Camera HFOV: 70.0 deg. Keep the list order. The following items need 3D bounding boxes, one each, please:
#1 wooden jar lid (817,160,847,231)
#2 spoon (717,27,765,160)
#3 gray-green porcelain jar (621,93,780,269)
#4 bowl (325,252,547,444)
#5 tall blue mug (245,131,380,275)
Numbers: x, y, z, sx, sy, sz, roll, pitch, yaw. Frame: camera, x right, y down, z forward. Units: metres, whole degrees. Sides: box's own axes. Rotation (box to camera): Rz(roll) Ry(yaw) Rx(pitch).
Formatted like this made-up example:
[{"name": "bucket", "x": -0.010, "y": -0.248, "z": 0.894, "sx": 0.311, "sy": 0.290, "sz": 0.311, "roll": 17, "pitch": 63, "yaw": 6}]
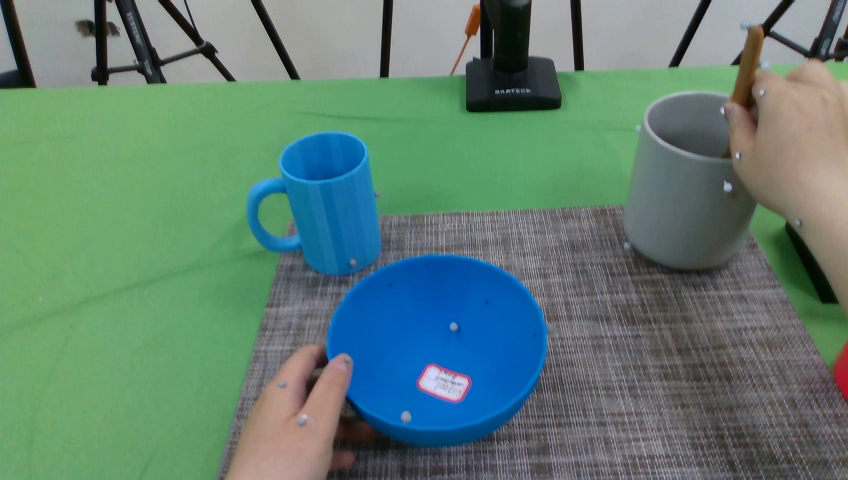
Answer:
[{"name": "wooden jar lid", "x": 0.389, "y": -0.030, "z": 0.508, "sx": 0.108, "sy": 0.021, "sz": 0.107, "roll": -3, "pitch": 42, "yaw": 3}, {"name": "spoon", "x": 0.246, "y": -0.087, "z": 0.477, "sx": 0.021, "sy": 0.196, "sz": 0.041, "roll": -25, "pitch": 55, "yaw": 6}, {"name": "gray-green porcelain jar", "x": 0.232, "y": -0.046, "z": 0.528, "sx": 0.106, "sy": 0.128, "sz": 0.105, "roll": -2, "pitch": 43, "yaw": 2}, {"name": "bowl", "x": 0.010, "y": 0.088, "z": 0.435, "sx": 0.151, "sy": 0.077, "sz": 0.150, "roll": -2, "pitch": 43, "yaw": 2}, {"name": "tall blue mug", "x": -0.095, "y": -0.025, "z": 0.543, "sx": 0.107, "sy": 0.109, "sz": 0.077, "roll": -34, "pitch": 51, "yaw": -29}]
